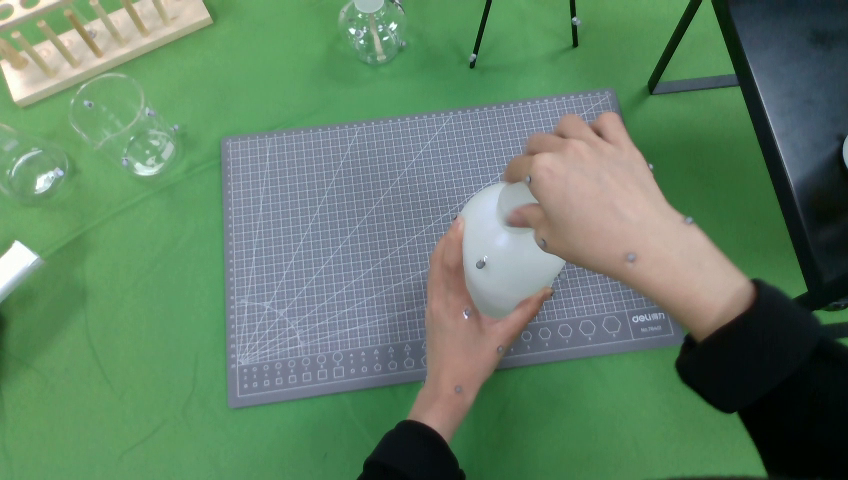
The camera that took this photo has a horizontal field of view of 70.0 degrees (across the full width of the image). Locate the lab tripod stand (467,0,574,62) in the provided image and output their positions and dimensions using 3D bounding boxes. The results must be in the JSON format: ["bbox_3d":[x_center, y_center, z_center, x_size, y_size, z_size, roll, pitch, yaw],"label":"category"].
[{"bbox_3d":[0.107,-0.277,0.667,0.148,0.132,0.147,0,69,0],"label":"lab tripod stand"}]

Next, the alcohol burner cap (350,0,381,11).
[{"bbox_3d":[-0.064,-0.270,0.639,0.034,0.048,0.033,0,69,0],"label":"alcohol burner cap"}]

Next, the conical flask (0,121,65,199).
[{"bbox_3d":[-0.435,-0.098,0.617,0.075,0.122,0.075,0,70,1],"label":"conical flask"}]

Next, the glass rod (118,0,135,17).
[{"bbox_3d":[-0.365,-0.312,0.641,0.008,0.201,0.008,-3,65,7],"label":"glass rod"}]

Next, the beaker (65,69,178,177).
[{"bbox_3d":[-0.310,-0.115,0.634,0.074,0.101,0.083,7,71,4],"label":"beaker"}]

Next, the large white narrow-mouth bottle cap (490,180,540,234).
[{"bbox_3d":[0.068,-0.024,0.448,0.038,0.024,0.037,0,72,1],"label":"large white narrow-mouth bottle cap"}]

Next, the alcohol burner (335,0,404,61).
[{"bbox_3d":[-0.062,-0.256,0.673,0.078,0.120,0.077,0,69,0],"label":"alcohol burner"}]

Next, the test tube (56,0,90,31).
[{"bbox_3d":[-0.406,-0.279,0.647,0.017,0.151,0.017,-2,67,5],"label":"test tube"}]

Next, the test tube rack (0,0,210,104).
[{"bbox_3d":[-0.382,-0.253,0.690,0.242,0.086,0.066,-28,72,-9],"label":"test tube rack"}]

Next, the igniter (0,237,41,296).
[{"bbox_3d":[-0.467,0.109,0.546,0.057,0.025,0.276,35,71,10],"label":"igniter"}]

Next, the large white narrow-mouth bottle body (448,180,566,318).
[{"bbox_3d":[0.072,0.003,0.535,0.102,0.196,0.101,0,72,2],"label":"large white narrow-mouth bottle body"}]

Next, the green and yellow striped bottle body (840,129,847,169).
[{"bbox_3d":[0.350,-0.086,0.412,0.063,0.120,0.063,0,70,1],"label":"green and yellow striped bottle body"}]
